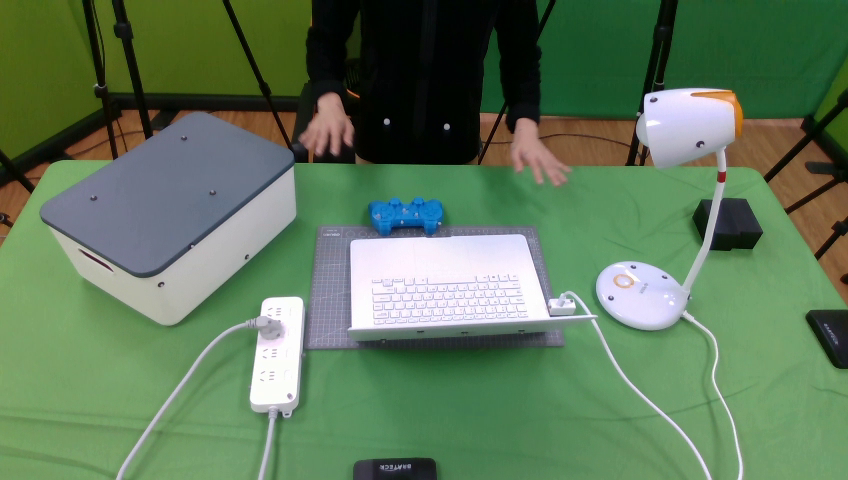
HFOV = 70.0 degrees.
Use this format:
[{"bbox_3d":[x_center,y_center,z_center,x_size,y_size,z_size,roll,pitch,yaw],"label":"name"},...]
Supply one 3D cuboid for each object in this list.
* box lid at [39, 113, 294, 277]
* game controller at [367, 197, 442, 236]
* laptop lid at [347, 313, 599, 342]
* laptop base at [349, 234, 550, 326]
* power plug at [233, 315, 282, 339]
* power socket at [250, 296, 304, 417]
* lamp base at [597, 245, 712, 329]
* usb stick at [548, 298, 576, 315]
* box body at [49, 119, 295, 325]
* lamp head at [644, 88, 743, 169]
[{"bbox_3d":[-0.435,-0.096,1.056,0.262,0.015,0.370,25,48,18],"label":"box lid"},{"bbox_3d":[-0.037,-0.057,1.231,0.155,0.052,0.096,-2,49,-5],"label":"game controller"},{"bbox_3d":[0.062,0.138,0.932,0.357,0.242,0.013,-2,77,-8],"label":"laptop lid"},{"bbox_3d":[0.040,0.080,1.125,0.355,0.023,0.234,-2,43,-6],"label":"laptop base"},{"bbox_3d":[-0.271,0.144,0.999,0.072,0.053,0.035,5,47,3],"label":"power plug"},{"bbox_3d":[-0.239,0.182,0.996,0.072,0.033,0.225,-2,47,-5],"label":"power socket"},{"bbox_3d":[0.418,0.051,1.071,0.179,0.181,0.160,22,49,13],"label":"lamp base"},{"bbox_3d":[0.240,0.119,1.086,0.059,0.027,0.021,-2,52,-2],"label":"usb stick"},{"bbox_3d":[-0.437,-0.046,1.110,0.253,0.161,0.363,24,49,18],"label":"box body"},{"bbox_3d":[0.380,-0.161,0.851,0.122,0.113,0.112,-4,42,25],"label":"lamp head"}]
